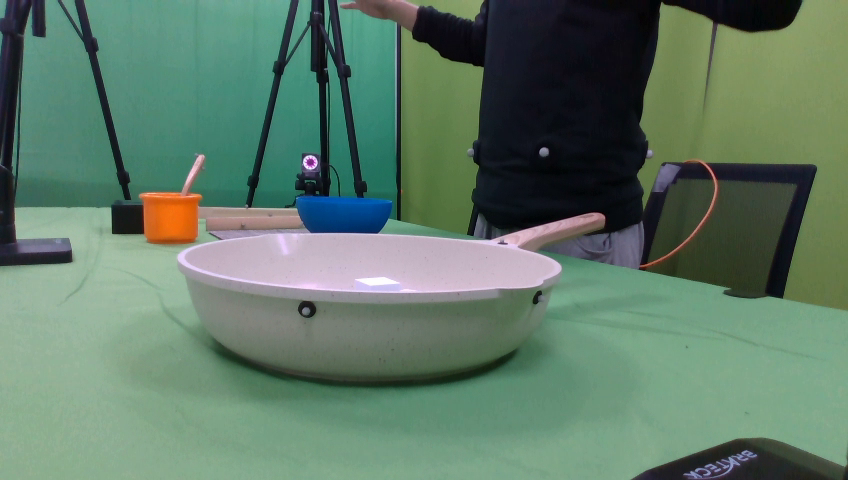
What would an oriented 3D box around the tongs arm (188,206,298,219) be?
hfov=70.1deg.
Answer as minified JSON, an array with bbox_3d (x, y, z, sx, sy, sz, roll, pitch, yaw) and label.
[{"bbox_3d":[-0.301,-0.055,1.308,0.387,0.026,0.050,-1,9,-29],"label":"tongs arm"}]

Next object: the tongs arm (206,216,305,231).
[{"bbox_3d":[-0.257,-0.039,1.241,0.390,0.028,0.028,-4,8,-42],"label":"tongs arm"}]

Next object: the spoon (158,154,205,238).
[{"bbox_3d":[-0.392,-0.076,0.998,0.041,0.193,0.021,1,-36,6],"label":"spoon"}]

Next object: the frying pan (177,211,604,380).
[{"bbox_3d":[0.035,0.019,0.556,0.490,0.102,0.305,-15,18,-42],"label":"frying pan"}]

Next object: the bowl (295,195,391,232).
[{"bbox_3d":[-0.127,-0.028,0.946,0.151,0.077,0.151,2,7,0],"label":"bowl"}]
